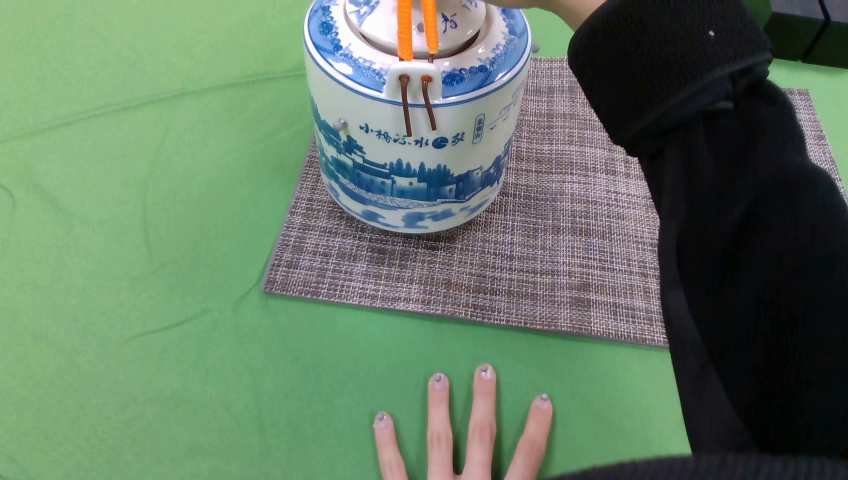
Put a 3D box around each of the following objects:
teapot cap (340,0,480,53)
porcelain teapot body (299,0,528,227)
[{"bbox_3d":[-0.008,-0.148,0.364,0.085,0.044,0.084,2,54,-2],"label":"teapot cap"},{"bbox_3d":[-0.007,-0.144,0.415,0.145,0.227,0.203,2,54,-2],"label":"porcelain teapot body"}]
